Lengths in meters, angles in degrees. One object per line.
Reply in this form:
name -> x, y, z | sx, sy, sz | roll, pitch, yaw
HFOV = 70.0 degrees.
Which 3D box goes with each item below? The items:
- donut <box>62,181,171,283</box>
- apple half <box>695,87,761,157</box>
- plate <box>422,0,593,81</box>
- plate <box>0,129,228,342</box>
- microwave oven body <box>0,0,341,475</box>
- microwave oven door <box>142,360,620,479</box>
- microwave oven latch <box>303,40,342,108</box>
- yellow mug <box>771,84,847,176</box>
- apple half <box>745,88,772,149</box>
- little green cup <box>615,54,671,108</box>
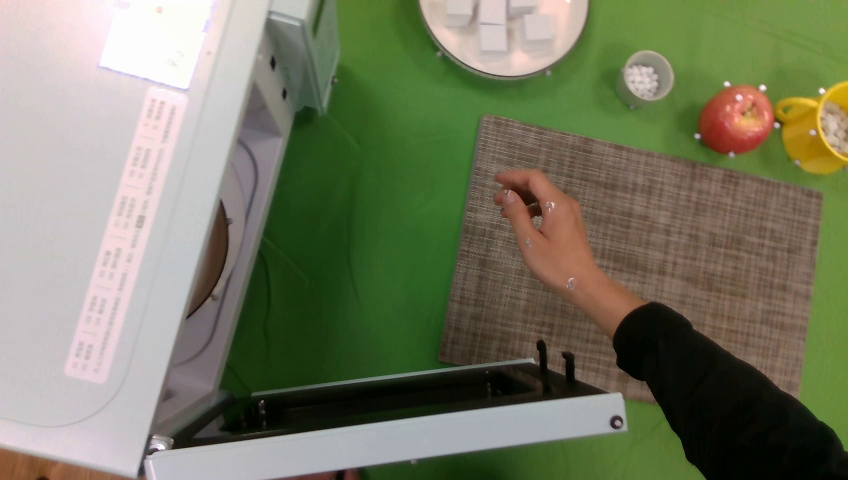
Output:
donut -> -0.296, -0.007, 0.586 | 0.099, 0.048, 0.098 | 1, 82, -7
apple half -> 0.360, -0.138, 0.734 | 0.053, 0.074, 0.081 | -14, 90, -3
plate -> 0.098, -0.290, 0.732 | 0.208, 0.039, 0.207 | 1, 85, -7
plate -> -0.300, -0.004, 0.599 | 0.209, 0.038, 0.208 | 1, 86, -7
microwave oven body -> -0.291, -0.068, 0.552 | 0.327, 0.260, 0.440 | 15, 84, -6
microwave oven door -> -0.036, 0.159, 0.560 | 0.356, 0.244, 0.039 | -5, 84, -7
microwave oven latch -> -0.115, -0.192, 0.680 | 0.030, 0.029, 0.079 | 18, 84, -5
yellow mug -> 0.496, -0.141, 0.753 | 0.131, 0.064, 0.099 | 23, 82, -4
apple half -> 0.398, -0.148, 0.738 | 0.033, 0.081, 0.081 | -15, 87, -3
little green cup -> 0.266, -0.192, 0.744 | 0.061, 0.038, 0.061 | 1, 85, -6
